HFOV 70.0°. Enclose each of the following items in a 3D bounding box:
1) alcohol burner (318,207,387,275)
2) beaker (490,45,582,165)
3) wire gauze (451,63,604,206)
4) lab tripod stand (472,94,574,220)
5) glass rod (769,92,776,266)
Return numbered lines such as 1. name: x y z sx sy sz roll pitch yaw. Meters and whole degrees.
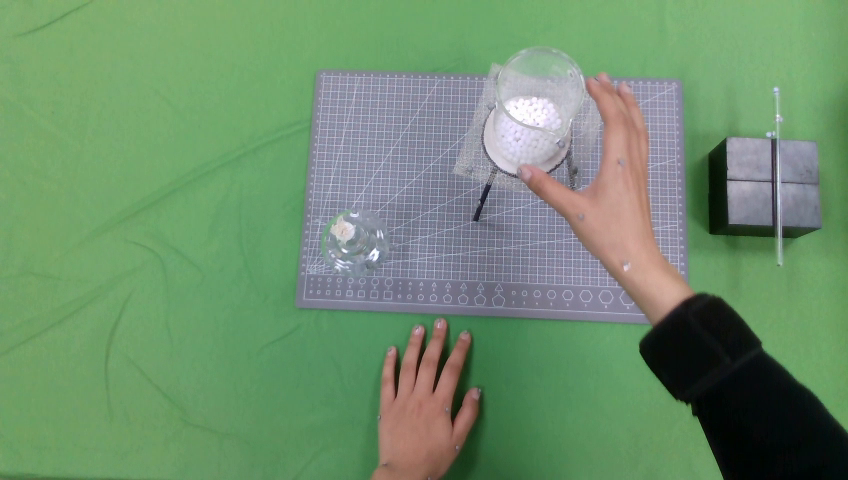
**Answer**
1. alcohol burner: -0.080 -0.002 0.658 0.078 0.119 0.077 0 80 2
2. beaker: 0.098 -0.113 0.548 0.074 0.100 0.083 -25 78 -3
3. wire gauze: 0.103 -0.104 0.595 0.121 0.011 0.124 20 78 5
4. lab tripod stand: 0.100 -0.093 0.660 0.148 0.132 0.147 -1 78 4
5. glass rod: 0.382 -0.069 0.664 0.008 0.008 0.199 6 79 3
